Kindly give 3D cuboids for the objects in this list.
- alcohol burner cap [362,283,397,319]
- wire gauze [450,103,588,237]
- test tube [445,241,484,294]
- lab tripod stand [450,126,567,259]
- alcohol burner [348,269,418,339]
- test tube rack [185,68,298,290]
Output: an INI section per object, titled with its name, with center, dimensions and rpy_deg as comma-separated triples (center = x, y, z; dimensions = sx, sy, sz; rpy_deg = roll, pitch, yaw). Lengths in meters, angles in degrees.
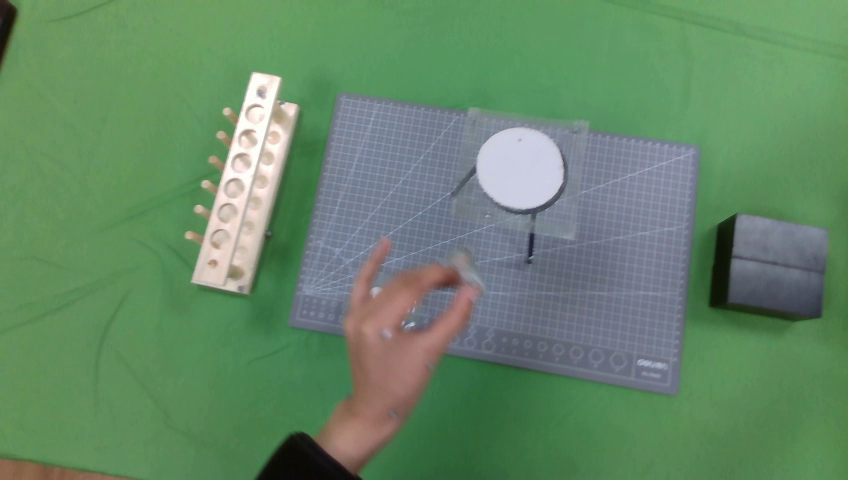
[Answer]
[alcohol burner cap]
center = -0.047, 0.061, 0.617
dimensions = 0.034, 0.048, 0.033
rpy_deg = -2, 74, 6
[wire gauze]
center = 0.094, -0.072, 0.597
dimensions = 0.125, 0.011, 0.121
rpy_deg = 10, 80, 4
[test tube]
center = 0.034, 0.024, 0.466
dimensions = 0.017, 0.151, 0.017
rpy_deg = -2, 77, 10
[lab tripod stand]
center = 0.101, -0.062, 0.663
dimensions = 0.148, 0.132, 0.147
rpy_deg = 0, 77, 2
[alcohol burner]
center = -0.046, 0.068, 0.653
dimensions = 0.078, 0.119, 0.077
rpy_deg = 0, 79, 0
[test tube rack]
center = -0.217, -0.071, 0.702
dimensions = 0.067, 0.085, 0.241
rpy_deg = 12, 80, 4
